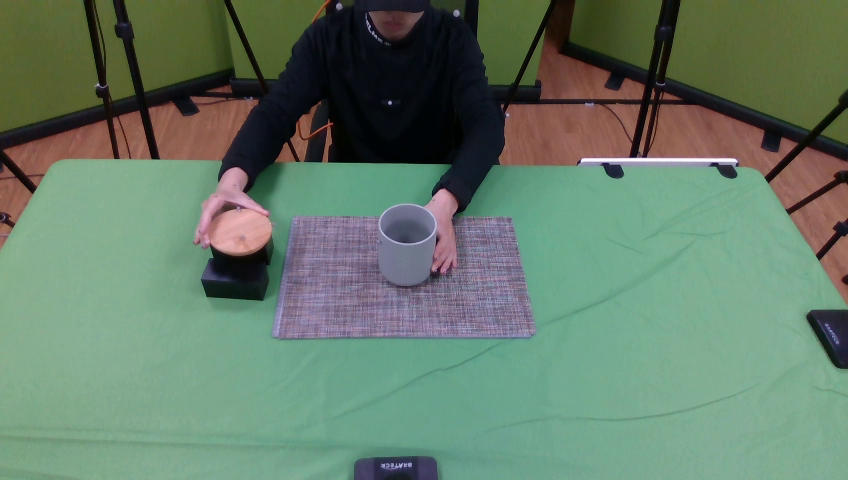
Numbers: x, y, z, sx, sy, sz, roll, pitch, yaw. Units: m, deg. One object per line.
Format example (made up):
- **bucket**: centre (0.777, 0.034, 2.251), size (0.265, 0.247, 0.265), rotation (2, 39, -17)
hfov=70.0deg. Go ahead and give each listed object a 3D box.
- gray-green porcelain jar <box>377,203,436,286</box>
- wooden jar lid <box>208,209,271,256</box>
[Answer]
- **gray-green porcelain jar**: centre (-0.033, 0.014, 1.106), size (0.106, 0.127, 0.105), rotation (2, 46, -2)
- **wooden jar lid**: centre (-0.326, -0.011, 1.075), size (0.108, 0.021, 0.107), rotation (4, 45, -4)
